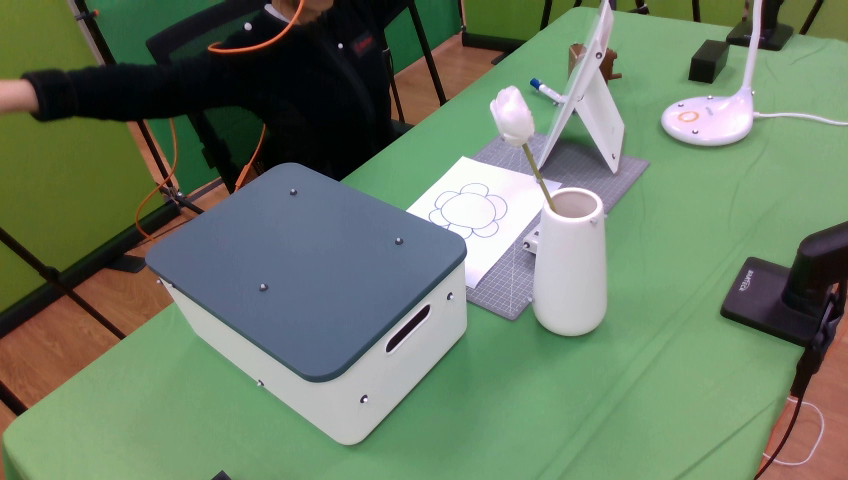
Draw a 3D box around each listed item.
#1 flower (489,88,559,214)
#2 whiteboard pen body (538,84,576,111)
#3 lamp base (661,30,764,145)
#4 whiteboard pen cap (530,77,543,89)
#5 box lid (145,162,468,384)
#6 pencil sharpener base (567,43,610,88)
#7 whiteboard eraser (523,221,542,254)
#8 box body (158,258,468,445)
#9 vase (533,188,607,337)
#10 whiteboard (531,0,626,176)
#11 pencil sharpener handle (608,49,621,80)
[{"bbox_3d":[0.158,-0.027,0.720,0.038,0.364,0.044,-14,44,23],"label":"flower"},{"bbox_3d":[0.278,-0.309,1.289,0.017,0.017,0.139,-25,46,-18],"label":"whiteboard pen body"},{"bbox_3d":[0.535,-0.287,1.096,0.179,0.181,0.159,-10,40,-4],"label":"lamp base"},{"bbox_3d":[0.248,-0.344,1.328,0.018,0.018,0.033,-23,46,-16],"label":"whiteboard pen cap"},{"bbox_3d":[-0.157,0.014,0.769,0.368,0.015,0.264,25,51,33],"label":"box lid"},{"bbox_3d":[0.345,-0.352,1.263,0.077,0.107,0.061,-8,40,1],"label":"pencil sharpener base"},{"bbox_3d":[0.207,-0.013,0.938,0.055,0.042,0.113,28,52,33],"label":"whiteboard eraser"},{"bbox_3d":[-0.147,0.072,0.816,0.361,0.161,0.255,24,50,33],"label":"box body"},{"bbox_3d":[0.187,0.033,0.771,0.098,0.201,0.097,-6,41,6],"label":"vase"},{"bbox_3d":[0.320,-0.258,1.050,0.144,0.306,0.217,22,45,5],"label":"whiteboard"},{"bbox_3d":[0.394,-0.367,1.253,0.030,0.068,0.036,-8,33,1],"label":"pencil sharpener handle"}]
